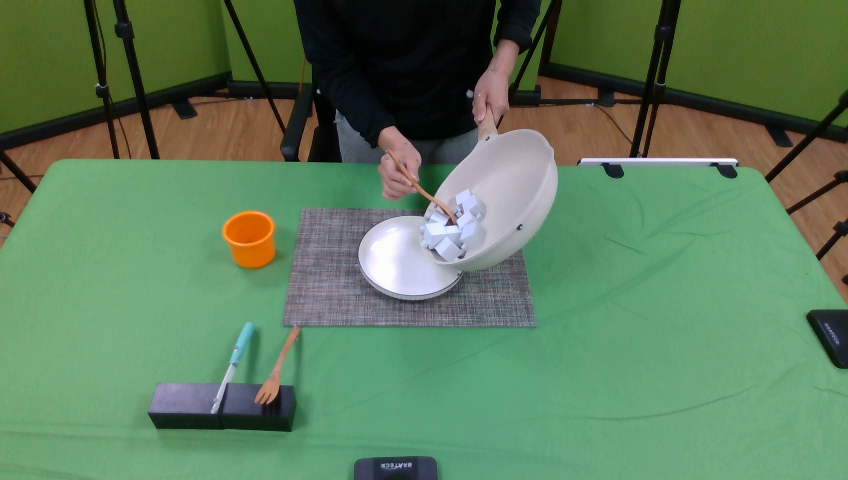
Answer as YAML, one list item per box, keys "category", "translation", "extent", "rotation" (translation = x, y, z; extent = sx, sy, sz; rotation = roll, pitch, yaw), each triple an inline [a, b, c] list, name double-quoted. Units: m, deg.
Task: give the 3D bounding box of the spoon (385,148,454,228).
- category: "spoon"
  translation: [-0.007, -0.094, 1.109]
  extent: [0.021, 0.194, 0.041]
  rotation: [-46, 19, 2]

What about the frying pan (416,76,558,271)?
- category: "frying pan"
  translation: [0.119, -0.148, 1.129]
  extent: [0.103, 0.307, 0.485]
  rotation: [34, 44, -35]

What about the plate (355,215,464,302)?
- category: "plate"
  translation: [-0.025, 0.038, 1.144]
  extent: [0.208, 0.039, 0.206]
  rotation: [3, 46, -3]

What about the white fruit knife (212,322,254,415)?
- category: "white fruit knife"
  translation: [-0.298, 0.193, 0.947]
  extent: [0.016, 0.027, 0.206]
  rotation: [2, 31, -1]

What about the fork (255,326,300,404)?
- category: "fork"
  translation: [-0.226, 0.192, 0.955]
  extent: [0.028, 0.019, 0.206]
  rotation: [-1, 27, 4]
